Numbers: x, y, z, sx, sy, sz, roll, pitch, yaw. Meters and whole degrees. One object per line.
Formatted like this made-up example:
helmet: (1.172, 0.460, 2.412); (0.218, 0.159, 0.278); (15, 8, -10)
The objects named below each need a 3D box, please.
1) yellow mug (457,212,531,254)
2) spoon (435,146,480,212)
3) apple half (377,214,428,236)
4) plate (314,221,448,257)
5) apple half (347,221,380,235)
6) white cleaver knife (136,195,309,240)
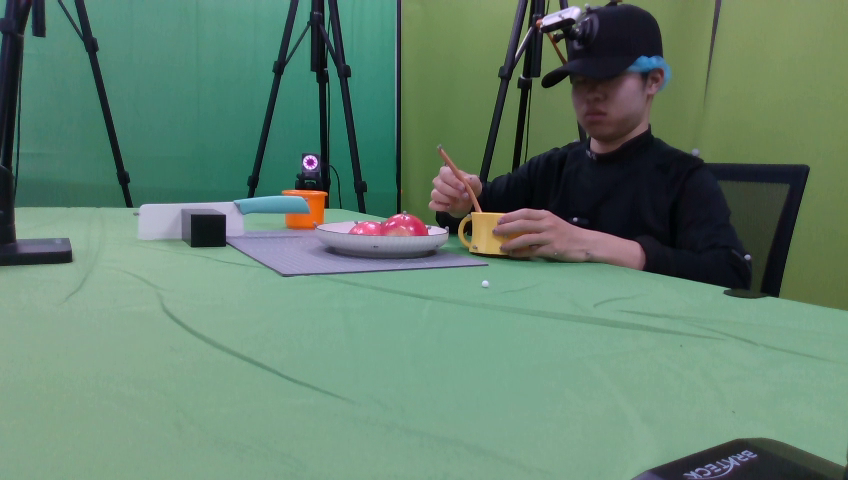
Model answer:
yellow mug: (0.109, -0.012, 0.992); (0.130, 0.064, 0.100); (4, 2, 34)
spoon: (0.073, -0.072, 0.986); (0.021, 0.193, 0.041); (-29, -3, -1)
apple half: (-0.034, -0.013, 0.924); (0.080, 0.053, 0.075); (5, 10, 16)
plate: (-0.067, -0.002, 0.948); (0.209, 0.038, 0.209); (3, 7, 0)
apple half: (-0.089, -0.014, 0.985); (0.081, 0.033, 0.081); (5, 6, 0)
white cleaver knife: (-0.337, -0.039, 1.037); (0.288, 0.066, 0.021); (-6, 15, -29)
